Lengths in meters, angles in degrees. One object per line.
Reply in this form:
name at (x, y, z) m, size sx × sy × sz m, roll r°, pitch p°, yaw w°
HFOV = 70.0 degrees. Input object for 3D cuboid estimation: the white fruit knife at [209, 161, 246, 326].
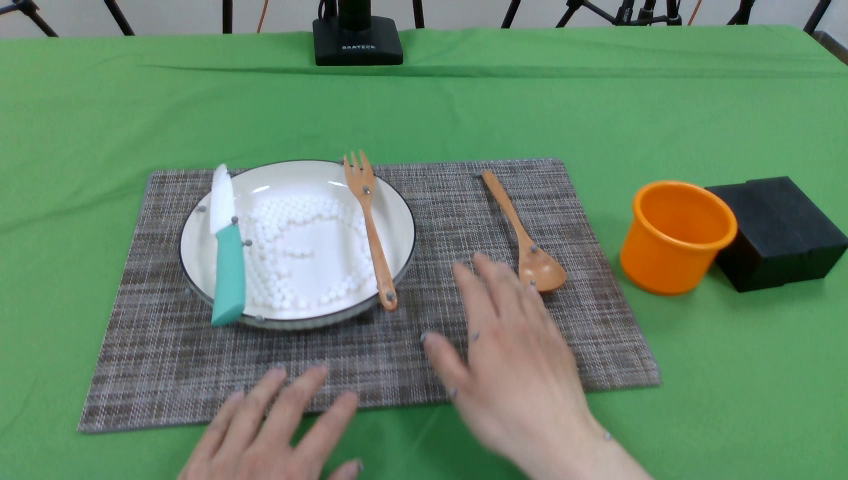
white fruit knife at (-0.174, -0.008, 0.531) m, size 0.027 × 0.016 × 0.205 m, roll -11°, pitch 46°, yaw -11°

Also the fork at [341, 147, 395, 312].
fork at (-0.051, -0.017, 0.552) m, size 0.028 × 0.019 × 0.205 m, roll -14°, pitch 46°, yaw -5°

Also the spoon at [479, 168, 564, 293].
spoon at (0.090, -0.017, 0.605) m, size 0.041 × 0.022 × 0.191 m, roll -20°, pitch 48°, yaw 0°

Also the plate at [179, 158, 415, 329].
plate at (-0.112, 0.001, 0.558) m, size 0.209 × 0.038 × 0.207 m, roll 3°, pitch 45°, yaw -2°
